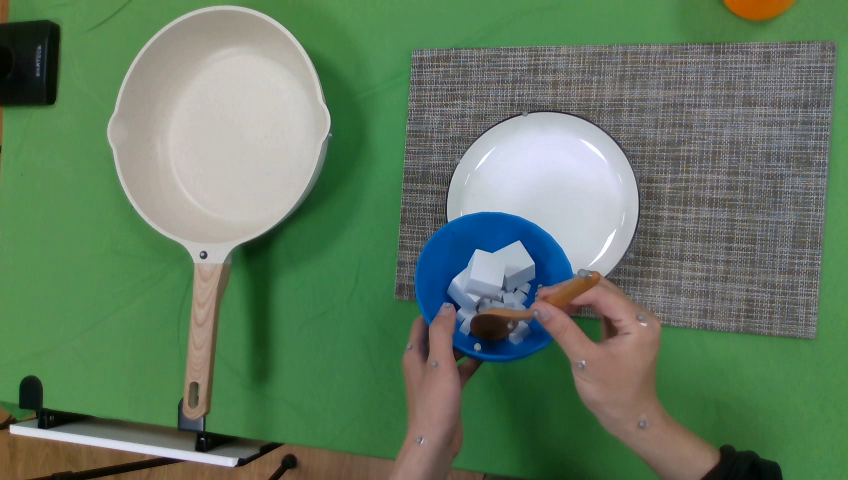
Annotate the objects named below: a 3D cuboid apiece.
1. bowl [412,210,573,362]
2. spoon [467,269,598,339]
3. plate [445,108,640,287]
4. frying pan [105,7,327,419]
[{"bbox_3d":[0.062,0.055,0.590,0.151,0.077,0.150,1,62,-2],"label":"bowl"},{"bbox_3d":[0.085,0.056,0.494,0.042,0.194,0.021,22,68,-12],"label":"spoon"},{"bbox_3d":[0.128,-0.038,0.667,0.207,0.039,0.207,-1,89,16],"label":"plate"},{"bbox_3d":[-0.257,-0.032,0.741,0.306,0.103,0.486,2,81,16],"label":"frying pan"}]
